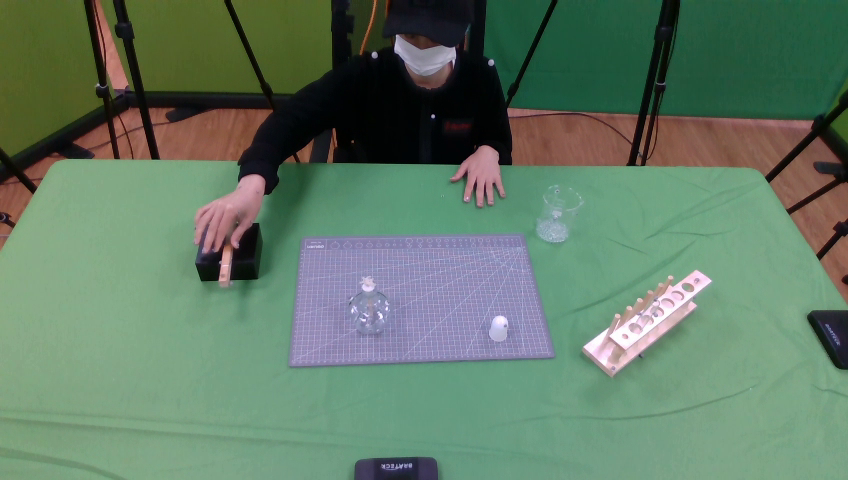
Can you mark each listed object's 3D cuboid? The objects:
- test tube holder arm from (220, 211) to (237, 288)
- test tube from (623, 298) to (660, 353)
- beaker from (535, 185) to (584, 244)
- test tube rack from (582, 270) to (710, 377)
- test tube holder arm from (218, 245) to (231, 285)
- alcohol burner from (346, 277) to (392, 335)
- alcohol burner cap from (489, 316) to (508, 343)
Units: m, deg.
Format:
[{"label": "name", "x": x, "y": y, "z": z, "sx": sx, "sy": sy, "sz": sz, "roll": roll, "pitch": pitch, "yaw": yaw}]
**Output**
[{"label": "test tube holder arm", "x": -0.353, "y": 0.013, "z": 1.093, "sx": 0.015, "sy": 0.013, "sz": 0.177, "roll": -3, "pitch": 47, "yaw": -6}, {"label": "test tube", "x": 0.344, "y": 0.140, "z": 0.976, "sx": 0.017, "sy": 0.151, "sz": 0.017, "roll": 3, "pitch": 50, "yaw": -4}, {"label": "beaker", "x": 0.268, "y": -0.048, "z": 1.213, "sx": 0.084, "sy": 0.101, "sz": 0.073, "roll": 6, "pitch": 46, "yaw": 0}, {"label": "test tube rack", "x": 0.389, "y": 0.132, "z": 1.057, "sx": 0.242, "sy": 0.085, "sz": 0.066, "roll": -28, "pitch": 54, "yaw": -28}, {"label": "test tube holder arm", "x": -0.347, "y": 0.042, "z": 1.058, "sx": 0.015, "sy": 0.010, "sz": 0.087, "roll": -3, "pitch": 46, "yaw": -6}, {"label": "alcohol burner", "x": -0.093, "y": 0.106, "z": 1.021, "sx": 0.078, "sy": 0.120, "sz": 0.077, "roll": 1, "pitch": 46, "yaw": -1}, {"label": "alcohol burner cap", "x": 0.130, "y": 0.151, "z": 1.045, "sx": 0.034, "sy": 0.048, "sz": 0.033, "roll": 2, "pitch": 46, "yaw": -2}]
